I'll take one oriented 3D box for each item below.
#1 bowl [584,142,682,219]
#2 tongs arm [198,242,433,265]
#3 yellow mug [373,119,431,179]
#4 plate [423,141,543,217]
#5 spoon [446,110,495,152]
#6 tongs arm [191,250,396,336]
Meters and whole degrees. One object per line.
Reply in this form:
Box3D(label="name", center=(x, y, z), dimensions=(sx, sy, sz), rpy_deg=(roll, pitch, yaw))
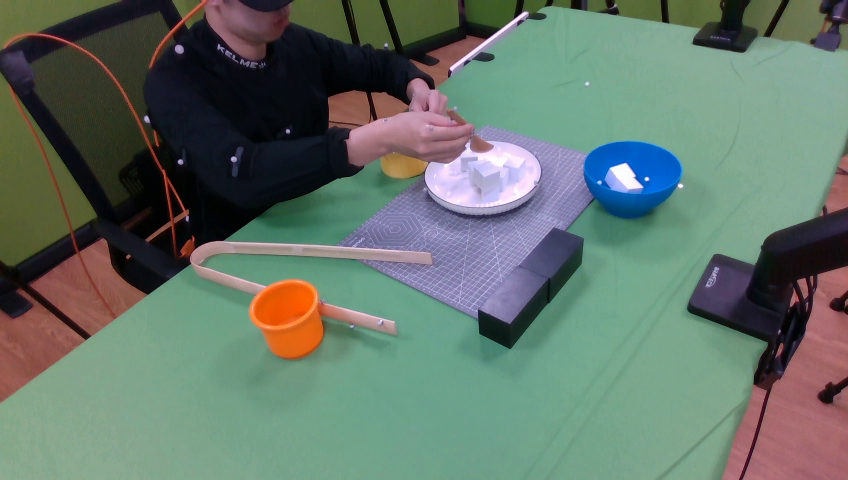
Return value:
Box3D(label="bowl", center=(0.333, -0.087, 0.980), dimensions=(0.151, 0.077, 0.150), rpy_deg=(-4, 40, 3))
Box3D(label="tongs arm", center=(-0.176, 0.024, 0.960), dimensions=(0.386, 0.028, 0.028), rpy_deg=(2, 45, 12))
Box3D(label="yellow mug", center=(-0.030, -0.182, 1.142), dimensions=(0.099, 0.064, 0.131), rpy_deg=(24, 56, 29))
Box3D(label="plate", center=(0.103, -0.104, 1.059), dimensions=(0.207, 0.039, 0.206), rpy_deg=(-4, 40, 4))
Box3D(label="spoon", center=(0.070, -0.172, 0.960), dimensions=(0.041, 0.195, 0.021), rpy_deg=(-6, 76, 22))
Box3D(label="tongs arm", center=(-0.204, 0.074, 0.902), dimensions=(0.382, 0.026, 0.051), rpy_deg=(11, 44, 22))
